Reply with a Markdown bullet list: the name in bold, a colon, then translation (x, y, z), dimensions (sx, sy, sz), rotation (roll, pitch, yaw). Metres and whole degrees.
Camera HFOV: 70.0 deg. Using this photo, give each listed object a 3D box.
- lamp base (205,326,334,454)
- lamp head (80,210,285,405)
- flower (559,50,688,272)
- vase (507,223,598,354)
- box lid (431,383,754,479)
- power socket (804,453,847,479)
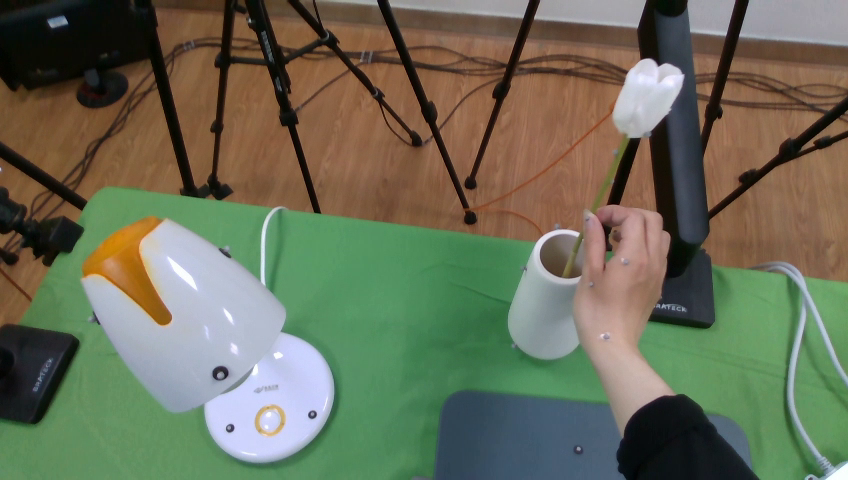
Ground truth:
- **lamp base**: translation (-0.201, 0.137, 0.700), dimensions (0.161, 0.182, 0.177), rotation (-19, 58, -9)
- **lamp head**: translation (-0.180, 0.037, 0.438), dimensions (0.112, 0.124, 0.111), rotation (-29, 22, 13)
- **flower**: translation (0.158, -0.017, 0.591), dimensions (0.044, 0.364, 0.038), rotation (-8, 51, -16)
- **vase**: translation (0.155, 0.061, 0.721), dimensions (0.098, 0.201, 0.097), rotation (0, 58, 1)
- **box lid**: translation (0.191, 0.304, 0.684), dimensions (0.371, 0.015, 0.261), rotation (4, 59, 5)
- **power socket**: translation (0.515, 0.331, 0.642), dimensions (0.072, 0.033, 0.224), rotation (-27, 62, -13)
